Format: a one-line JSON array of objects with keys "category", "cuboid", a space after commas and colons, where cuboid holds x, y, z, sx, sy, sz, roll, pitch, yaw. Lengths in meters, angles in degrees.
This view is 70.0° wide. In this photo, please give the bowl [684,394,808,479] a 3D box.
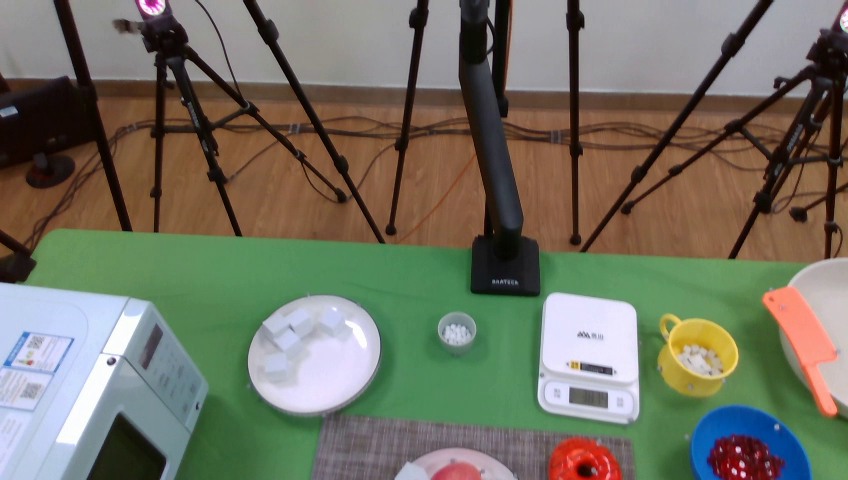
[{"category": "bowl", "cuboid": [0.420, 0.294, 0.817, 0.151, 0.077, 0.150, -1, 53, 2]}]

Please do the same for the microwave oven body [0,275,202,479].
[{"category": "microwave oven body", "cuboid": [-0.521, 0.292, 0.727, 0.326, 0.262, 0.438, 6, 53, 6]}]

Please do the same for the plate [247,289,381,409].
[{"category": "plate", "cuboid": [-0.170, 0.172, 0.955, 0.208, 0.039, 0.205, -1, 52, 1]}]

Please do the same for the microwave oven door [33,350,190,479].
[{"category": "microwave oven door", "cuboid": [-0.383, 0.335, 0.683, 0.039, 0.246, 0.352, 5, 53, 6]}]

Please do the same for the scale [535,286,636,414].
[{"category": "scale", "cuboid": [0.254, 0.167, 0.949, 0.148, 0.032, 0.199, 7, 53, 8]}]

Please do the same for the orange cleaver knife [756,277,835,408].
[{"category": "orange cleaver knife", "cuboid": [0.559, 0.143, 0.888, 0.077, 0.012, 0.209, -3, 53, -4]}]

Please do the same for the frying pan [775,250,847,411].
[{"category": "frying pan", "cuboid": [0.717, 0.214, 0.852, 0.307, 0.104, 0.482, -19, 46, -11]}]

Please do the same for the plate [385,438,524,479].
[{"category": "plate", "cuboid": [0.040, 0.367, 0.793, 0.209, 0.038, 0.207, 0, 52, 1]}]

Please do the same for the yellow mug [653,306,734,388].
[{"category": "yellow mug", "cuboid": [0.402, 0.156, 0.932, 0.100, 0.064, 0.129, -23, 54, -15]}]

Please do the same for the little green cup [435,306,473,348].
[{"category": "little green cup", "cuboid": [0.048, 0.142, 0.972, 0.061, 0.039, 0.061, -1, 52, 2]}]

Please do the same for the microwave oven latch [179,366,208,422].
[{"category": "microwave oven latch", "cuboid": [-0.347, 0.226, 0.895, 0.030, 0.030, 0.078, 8, 54, 7]}]

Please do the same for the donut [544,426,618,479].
[{"category": "donut", "cuboid": [0.214, 0.305, 0.831, 0.099, 0.049, 0.098, -3, 53, 4]}]

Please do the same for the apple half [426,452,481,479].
[{"category": "apple half", "cuboid": [0.040, 0.321, 0.806, 0.075, 0.054, 0.080, -8, 56, -1]}]
